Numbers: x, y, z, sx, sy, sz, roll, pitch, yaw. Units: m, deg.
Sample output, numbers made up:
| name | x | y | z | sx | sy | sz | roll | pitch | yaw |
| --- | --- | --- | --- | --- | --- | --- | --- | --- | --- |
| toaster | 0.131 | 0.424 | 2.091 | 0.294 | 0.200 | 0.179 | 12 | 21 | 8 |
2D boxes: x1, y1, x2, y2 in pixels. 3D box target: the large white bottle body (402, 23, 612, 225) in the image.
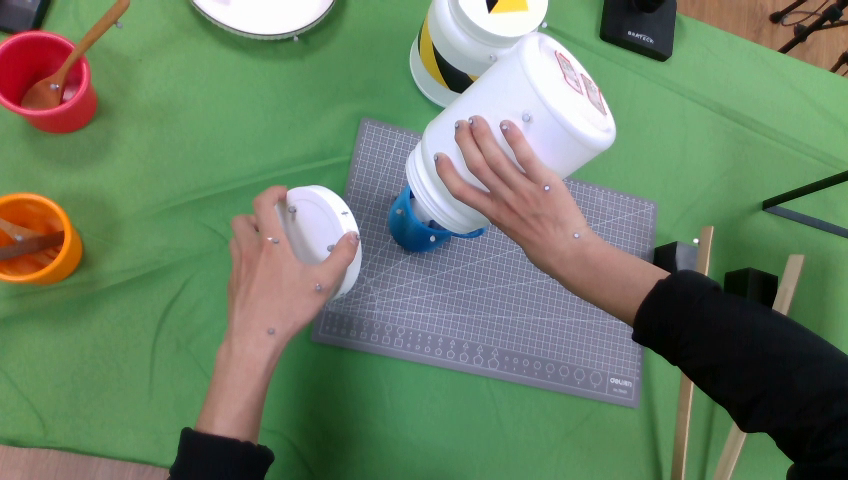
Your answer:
| name | x | y | z | sx | sy | sz | roll | pitch | yaw |
| --- | --- | --- | --- | --- | --- | --- | --- | --- | --- |
| large white bottle body | 0.076 | -0.106 | 0.608 | 0.132 | 0.184 | 0.129 | 32 | 39 | -30 |

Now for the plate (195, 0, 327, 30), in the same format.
| name | x | y | z | sx | sy | sz | roll | pitch | yaw |
| --- | --- | --- | --- | --- | --- | --- | --- | --- | --- |
| plate | -0.215 | -0.363 | 0.781 | 0.208 | 0.039 | 0.206 | 3 | 79 | -15 |

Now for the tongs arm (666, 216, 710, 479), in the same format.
| name | x | y | z | sx | sy | sz | roll | pitch | yaw |
| --- | --- | --- | --- | --- | --- | --- | --- | --- | --- |
| tongs arm | 0.361 | 0.162 | 0.804 | 0.051 | 0.026 | 0.384 | 10 | 89 | -16 |

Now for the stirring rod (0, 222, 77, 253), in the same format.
| name | x | y | z | sx | sy | sz | roll | pitch | yaw |
| --- | --- | --- | --- | --- | --- | --- | --- | --- | --- |
| stirring rod | -0.426 | 0.008 | 0.598 | 0.014 | 0.006 | 0.176 | 60 | 29 | -1 |

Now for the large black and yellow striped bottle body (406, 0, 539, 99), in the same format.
| name | x | y | z | sx | sy | sz | roll | pitch | yaw |
| --- | --- | --- | --- | --- | --- | --- | --- | --- | --- |
| large black and yellow striped bottle body | 0.059 | -0.270 | 0.763 | 0.131 | 0.184 | 0.130 | 3 | 78 | -15 |

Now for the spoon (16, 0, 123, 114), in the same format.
| name | x | y | z | sx | sy | sz | roll | pitch | yaw |
| --- | --- | --- | --- | --- | --- | --- | --- | --- | --- |
| spoon | -0.379 | -0.201 | 0.648 | 0.194 | 0.022 | 0.041 | -34 | 85 | 25 |

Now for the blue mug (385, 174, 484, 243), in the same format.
| name | x | y | z | sx | sy | sz | roll | pitch | yaw |
| --- | --- | --- | --- | --- | --- | --- | --- | --- | --- |
| blue mug | 0.017 | -0.040 | 0.745 | 0.117 | 0.106 | 0.082 | 21 | 74 | -11 |

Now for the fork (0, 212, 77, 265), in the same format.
| name | x | y | z | sx | sy | sz | roll | pitch | yaw |
| --- | --- | --- | --- | --- | --- | --- | --- | --- | --- |
| fork | -0.439 | -0.034 | 0.596 | 0.028 | 0.018 | 0.210 | -62 | 141 | -18 |

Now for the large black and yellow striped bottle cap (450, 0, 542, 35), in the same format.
| name | x | y | z | sx | sy | sz | roll | pitch | yaw |
| --- | --- | --- | --- | --- | --- | --- | --- | --- | --- |
| large black and yellow striped bottle cap | 0.081 | -0.288 | 0.684 | 0.115 | 0.019 | 0.114 | 3 | 80 | -16 |

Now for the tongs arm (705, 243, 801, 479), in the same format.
| name | x | y | z | sx | sy | sz | roll | pitch | yaw |
| --- | --- | --- | --- | --- | --- | --- | --- | --- | --- |
| tongs arm | 0.438 | 0.182 | 0.825 | 0.028 | 0.027 | 0.387 | 24 | 86 | -18 |

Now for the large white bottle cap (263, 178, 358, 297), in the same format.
| name | x | y | z | sx | sy | sz | roll | pitch | yaw |
| --- | --- | --- | --- | --- | --- | --- | --- | --- | --- |
| large white bottle cap | -0.111 | -0.002 | 0.585 | 0.018 | 0.114 | 0.114 | -12 | 81 | -54 |
